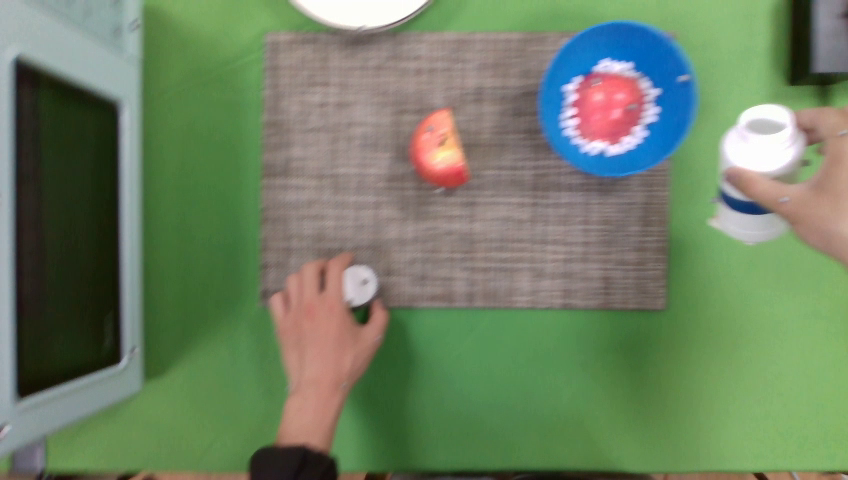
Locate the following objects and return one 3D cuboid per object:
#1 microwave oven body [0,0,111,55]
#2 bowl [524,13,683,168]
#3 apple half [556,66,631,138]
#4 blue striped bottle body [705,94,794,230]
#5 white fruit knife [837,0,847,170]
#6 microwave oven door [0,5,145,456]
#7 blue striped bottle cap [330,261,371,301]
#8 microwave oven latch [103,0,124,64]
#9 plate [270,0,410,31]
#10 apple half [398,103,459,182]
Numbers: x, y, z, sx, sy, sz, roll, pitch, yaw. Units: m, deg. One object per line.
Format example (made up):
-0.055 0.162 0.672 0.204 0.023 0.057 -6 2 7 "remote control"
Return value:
-0.487 -0.048 0.560 0.326 0.260 0.441 -2 92 1 "microwave oven body"
0.175 -0.145 0.625 0.151 0.077 0.151 0 91 3 "bowl"
0.176 -0.144 0.621 0.081 0.033 0.081 0 89 2 "apple half"
0.280 -0.068 0.526 0.063 0.122 0.062 -11 51 14 "blue striped bottle body"
0.430 -0.170 0.616 0.016 0.027 0.208 -5 108 20 "white fruit knife"
-0.339 -0.011 0.551 0.039 0.244 0.355 -3 91 3 "microwave oven door"
-0.082 0.045 0.670 0.044 0.020 0.044 0 90 -1 "blue striped bottle cap"
-0.341 -0.231 0.647 0.030 0.029 0.079 -2 92 2 "microwave oven latch"
-0.089 -0.327 0.655 0.207 0.039 0.207 0 92 2 "plate"
0.001 -0.097 0.636 0.053 0.074 0.081 -20 94 6 "apple half"
